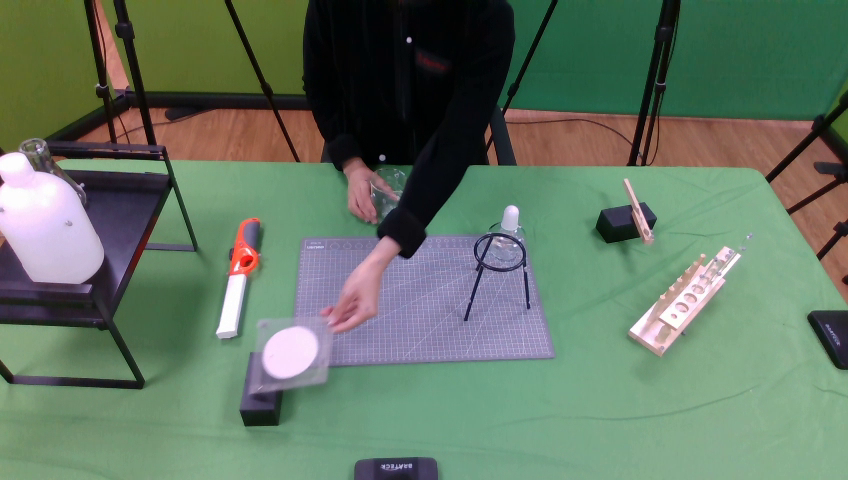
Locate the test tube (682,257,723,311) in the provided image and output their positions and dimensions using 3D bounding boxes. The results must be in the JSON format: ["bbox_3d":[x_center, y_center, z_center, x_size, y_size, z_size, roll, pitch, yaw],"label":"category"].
[{"bbox_3d":[0.475,0.080,1.037,0.017,0.151,0.017,1,50,-1],"label":"test tube"}]

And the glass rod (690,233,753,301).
[{"bbox_3d":[0.507,0.053,1.041,0.008,0.200,0.008,5,51,-6],"label":"glass rod"}]

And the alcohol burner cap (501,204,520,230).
[{"bbox_3d":[0.164,-0.045,1.133,0.034,0.048,0.033,2,40,-1],"label":"alcohol burner cap"}]

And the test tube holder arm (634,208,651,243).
[{"bbox_3d":[0.428,-0.029,1.189,0.010,0.015,0.087,1,47,-2],"label":"test tube holder arm"}]

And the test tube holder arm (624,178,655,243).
[{"bbox_3d":[0.433,-0.062,1.220,0.013,0.015,0.177,0,47,-3],"label":"test tube holder arm"}]

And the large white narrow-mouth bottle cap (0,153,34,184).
[{"bbox_3d":[-0.510,-0.089,0.754,0.038,0.024,0.037,2,46,-2],"label":"large white narrow-mouth bottle cap"}]

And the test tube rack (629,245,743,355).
[{"bbox_3d":[0.474,0.095,1.091,0.242,0.085,0.066,-34,56,-31],"label":"test tube rack"}]

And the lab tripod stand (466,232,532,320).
[{"bbox_3d":[0.125,0.059,1.065,0.148,0.132,0.147,1,45,0],"label":"lab tripod stand"}]

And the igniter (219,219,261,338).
[{"bbox_3d":[-0.336,0.060,1.111,0.057,0.025,0.274,-8,46,3],"label":"igniter"}]

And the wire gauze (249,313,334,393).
[{"bbox_3d":[-0.202,0.169,0.924,0.121,0.011,0.124,-6,53,5],"label":"wire gauze"}]

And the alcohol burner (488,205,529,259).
[{"bbox_3d":[0.163,-0.020,1.158,0.078,0.120,0.077,0,47,0],"label":"alcohol burner"}]

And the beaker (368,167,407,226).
[{"bbox_3d":[-0.069,-0.084,1.219,0.083,0.101,0.074,28,51,22],"label":"beaker"}]

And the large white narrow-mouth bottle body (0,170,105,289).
[{"bbox_3d":[-0.513,-0.029,0.818,0.102,0.195,0.101,2,46,-2],"label":"large white narrow-mouth bottle body"}]

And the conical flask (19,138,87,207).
[{"bbox_3d":[-0.576,-0.097,0.930,0.075,0.122,0.075,2,46,-2],"label":"conical flask"}]
